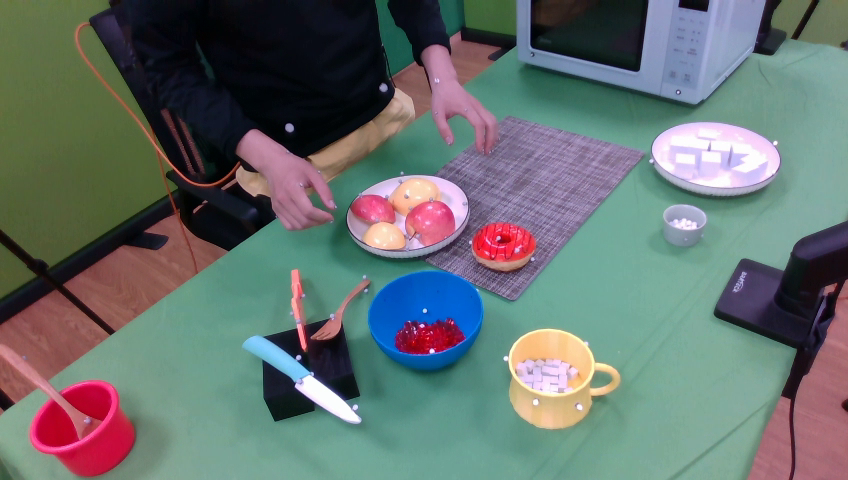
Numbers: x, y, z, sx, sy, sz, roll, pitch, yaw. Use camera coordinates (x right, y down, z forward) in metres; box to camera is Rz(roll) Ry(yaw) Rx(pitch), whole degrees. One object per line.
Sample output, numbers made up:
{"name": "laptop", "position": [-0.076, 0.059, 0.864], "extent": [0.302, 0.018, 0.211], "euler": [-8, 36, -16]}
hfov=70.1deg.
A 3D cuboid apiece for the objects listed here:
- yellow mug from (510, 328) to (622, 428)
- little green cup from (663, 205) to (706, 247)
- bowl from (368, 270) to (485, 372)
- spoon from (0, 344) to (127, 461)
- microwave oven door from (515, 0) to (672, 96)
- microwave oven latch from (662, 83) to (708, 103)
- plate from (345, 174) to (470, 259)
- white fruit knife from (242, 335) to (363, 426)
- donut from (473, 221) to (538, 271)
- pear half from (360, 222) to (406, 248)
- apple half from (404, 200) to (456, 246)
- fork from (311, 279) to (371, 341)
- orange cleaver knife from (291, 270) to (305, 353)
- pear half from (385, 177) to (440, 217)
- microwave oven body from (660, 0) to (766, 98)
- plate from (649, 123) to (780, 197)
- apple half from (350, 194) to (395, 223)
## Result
{"name": "yellow mug", "position": [0.168, 0.164, 0.722], "extent": [0.130, 0.064, 0.099], "euler": [0, 41, 8]}
{"name": "little green cup", "position": [0.396, -0.021, 0.926], "extent": [0.061, 0.039, 0.061], "euler": [-4, 40, 4]}
{"name": "bowl", "position": [0.007, 0.118, 0.791], "extent": [0.151, 0.077, 0.150], "euler": [-5, 40, 4]}
{"name": "spoon", "position": [-0.433, 0.191, 0.720], "extent": [0.194, 0.021, 0.042], "euler": [47, 53, -6]}
{"name": "microwave oven door", "position": [0.343, -0.454, 1.259], "extent": [0.353, 0.245, 0.039], "euler": [26, 51, 33]}
{"name": "microwave oven latch", "position": [0.518, -0.296, 1.204], "extent": [0.078, 0.029, 0.030], "euler": [28, 52, 35]}
{"name": "plate", "position": [-0.026, -0.037, 1.004], "extent": [0.209, 0.038, 0.208], "euler": [-4, 40, 4]}
{"name": "white fruit knife", "position": [-0.148, 0.166, 0.730], "extent": [0.206, 0.016, 0.027], "euler": [26, 80, 31]}
{"name": "donut", "position": [0.123, 0.008, 0.923], "extent": [0.099, 0.048, 0.098], "euler": [-3, 38, 3]}
{"name": "pear half", "position": [-0.064, -0.012, 0.960], "extent": [0.071, 0.031, 0.087], "euler": [5, 21, -23]}
{"name": "apple half", "position": [0.009, -0.035, 0.969], "extent": [0.075, 0.053, 0.080], "euler": [-27, 40, -22]}
{"name": "fork", "position": [-0.108, 0.092, 0.832], "extent": [0.028, 0.019, 0.207], "euler": [-6, 19, 15]}
{"name": "orange cleaver knife", "position": [-0.175, 0.094, 0.844], "extent": [0.012, 0.077, 0.210], "euler": [-11, 14, -10]}
{"name": "pear half", "position": [-0.030, -0.079, 1.033], "extent": [0.109, 0.056, 0.076], "euler": [-1, 35, 15]}
{"name": "microwave oven body", "position": [0.472, -0.513, 1.317], "extent": [0.438, 0.261, 0.327], "euler": [26, 51, 34]}
{"name": "plate", "position": [0.497, -0.135, 1.046], "extent": [0.207, 0.039, 0.206], "euler": [-4, 40, 4]}
{"name": "apple half", "position": [-0.081, -0.058, 1.008], "extent": [0.081, 0.033, 0.081], "euler": [13, 22, -5]}
